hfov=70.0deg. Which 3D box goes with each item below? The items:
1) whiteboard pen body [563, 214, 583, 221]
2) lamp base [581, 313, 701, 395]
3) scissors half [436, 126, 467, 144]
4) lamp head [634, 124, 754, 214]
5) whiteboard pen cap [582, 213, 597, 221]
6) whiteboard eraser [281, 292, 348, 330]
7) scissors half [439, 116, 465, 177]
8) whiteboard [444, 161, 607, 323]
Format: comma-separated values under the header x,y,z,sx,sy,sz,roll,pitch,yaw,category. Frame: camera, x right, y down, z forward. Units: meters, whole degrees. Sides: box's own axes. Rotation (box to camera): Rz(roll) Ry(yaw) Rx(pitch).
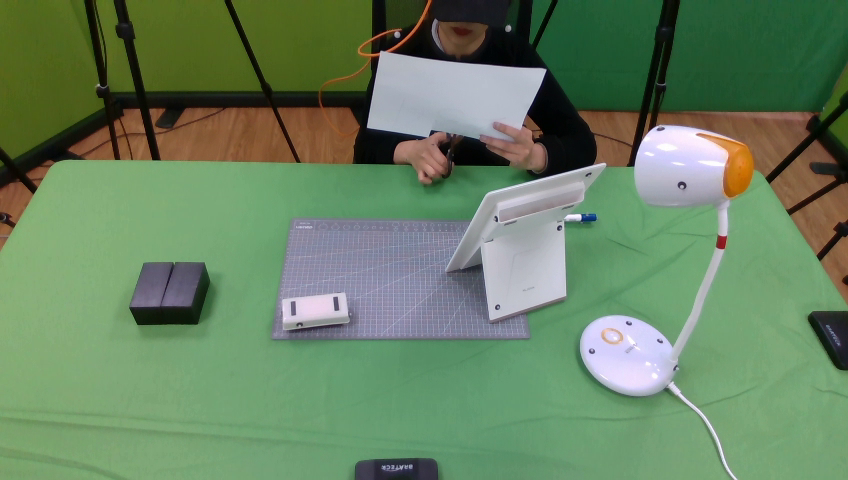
x,y,z,sx,sy,sz,roll,pitch,yaw,category
0.283,-0.047,1.257,0.141,0.017,0.017,-1,46,-2,whiteboard pen body
0.361,0.144,0.973,0.178,0.181,0.160,34,53,23,lamp base
0.057,-0.217,1.264,0.013,0.040,0.174,-1,11,-18,scissors half
0.351,-0.089,0.776,0.112,0.113,0.122,-30,30,-28,lamp head
0.342,-0.048,1.260,0.033,0.018,0.018,-3,46,-3,whiteboard pen cap
-0.189,0.124,1.045,0.113,0.042,0.055,-6,46,-10,whiteboard eraser
0.060,-0.191,1.259,0.013,0.176,0.040,-5,54,-19,scissors half
0.186,0.025,1.029,0.217,0.306,0.143,-14,68,-18,whiteboard
